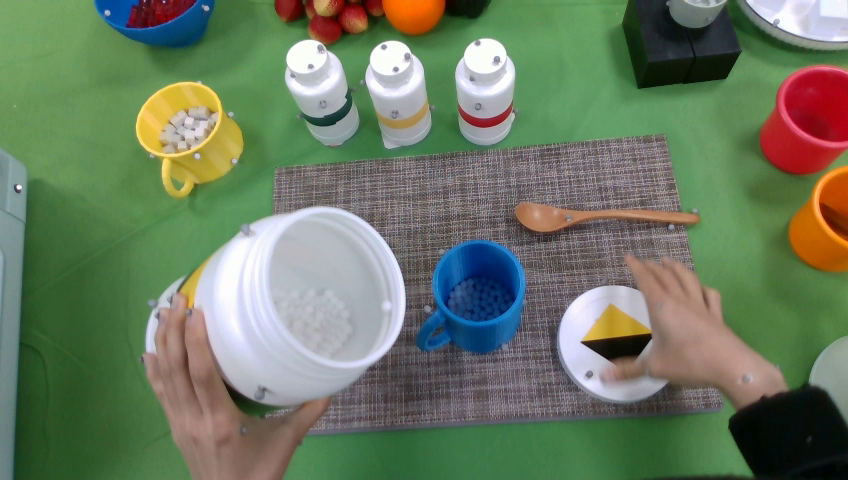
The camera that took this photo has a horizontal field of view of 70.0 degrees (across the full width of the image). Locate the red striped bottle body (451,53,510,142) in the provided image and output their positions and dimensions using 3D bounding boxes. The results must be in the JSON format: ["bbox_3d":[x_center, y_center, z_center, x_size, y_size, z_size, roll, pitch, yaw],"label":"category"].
[{"bbox_3d":[0.062,-0.164,0.659,0.063,0.120,0.062,-2,67,5],"label":"red striped bottle body"}]

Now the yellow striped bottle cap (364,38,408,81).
[{"bbox_3d":[-0.039,-0.185,0.619,0.044,0.019,0.044,0,65,1],"label":"yellow striped bottle cap"}]

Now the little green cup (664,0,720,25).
[{"bbox_3d":[0.297,-0.271,0.667,0.061,0.039,0.061,-1,67,3],"label":"little green cup"}]

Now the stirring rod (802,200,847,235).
[{"bbox_3d":[0.400,-0.004,0.555,0.014,0.006,0.175,-2,25,2],"label":"stirring rod"}]

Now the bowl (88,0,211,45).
[{"bbox_3d":[-0.334,-0.305,0.774,0.151,0.077,0.150,-2,69,4],"label":"bowl"}]

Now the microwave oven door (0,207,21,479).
[{"bbox_3d":[-0.452,0.094,0.521,0.039,0.245,0.353,-13,68,1],"label":"microwave oven door"}]

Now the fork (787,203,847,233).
[{"bbox_3d":[0.429,-0.004,0.545,0.028,0.019,0.205,-31,24,-15],"label":"fork"}]

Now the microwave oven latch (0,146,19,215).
[{"bbox_3d":[-0.486,-0.066,0.696,0.030,0.030,0.078,-12,69,0],"label":"microwave oven latch"}]

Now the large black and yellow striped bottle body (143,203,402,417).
[{"bbox_3d":[-0.114,0.055,0.451,0.183,0.132,0.130,-26,59,44],"label":"large black and yellow striped bottle body"}]

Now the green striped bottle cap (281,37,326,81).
[{"bbox_3d":[-0.125,-0.188,0.629,0.044,0.020,0.044,-1,68,3],"label":"green striped bottle cap"}]

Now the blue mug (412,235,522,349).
[{"bbox_3d":[0.037,0.063,0.576,0.116,0.106,0.081,-37,69,-9],"label":"blue mug"}]

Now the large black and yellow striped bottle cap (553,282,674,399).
[{"bbox_3d":[0.185,0.097,0.597,0.115,0.019,0.114,-2,67,4],"label":"large black and yellow striped bottle cap"}]

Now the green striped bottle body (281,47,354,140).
[{"bbox_3d":[-0.119,-0.169,0.677,0.063,0.120,0.062,-2,68,4],"label":"green striped bottle body"}]

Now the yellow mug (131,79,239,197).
[{"bbox_3d":[-0.278,-0.112,0.700,0.100,0.064,0.130,5,70,7],"label":"yellow mug"}]

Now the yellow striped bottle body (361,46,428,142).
[{"bbox_3d":[-0.032,-0.166,0.668,0.063,0.121,0.062,-2,68,5],"label":"yellow striped bottle body"}]

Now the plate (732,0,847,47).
[{"bbox_3d":[0.463,-0.312,0.723,0.209,0.038,0.207,-2,69,5],"label":"plate"}]

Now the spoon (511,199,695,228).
[{"bbox_3d":[0.190,-0.029,0.642,0.193,0.022,0.041,-1,45,5],"label":"spoon"}]

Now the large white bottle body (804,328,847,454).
[{"bbox_3d":[0.412,0.113,0.482,0.130,0.186,0.129,-2,68,5],"label":"large white bottle body"}]

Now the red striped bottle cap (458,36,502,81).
[{"bbox_3d":[0.056,-0.184,0.610,0.044,0.018,0.044,0,67,1],"label":"red striped bottle cap"}]

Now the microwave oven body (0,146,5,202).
[{"bbox_3d":[-0.603,0.091,0.542,0.326,0.262,0.438,-13,69,0],"label":"microwave oven body"}]
